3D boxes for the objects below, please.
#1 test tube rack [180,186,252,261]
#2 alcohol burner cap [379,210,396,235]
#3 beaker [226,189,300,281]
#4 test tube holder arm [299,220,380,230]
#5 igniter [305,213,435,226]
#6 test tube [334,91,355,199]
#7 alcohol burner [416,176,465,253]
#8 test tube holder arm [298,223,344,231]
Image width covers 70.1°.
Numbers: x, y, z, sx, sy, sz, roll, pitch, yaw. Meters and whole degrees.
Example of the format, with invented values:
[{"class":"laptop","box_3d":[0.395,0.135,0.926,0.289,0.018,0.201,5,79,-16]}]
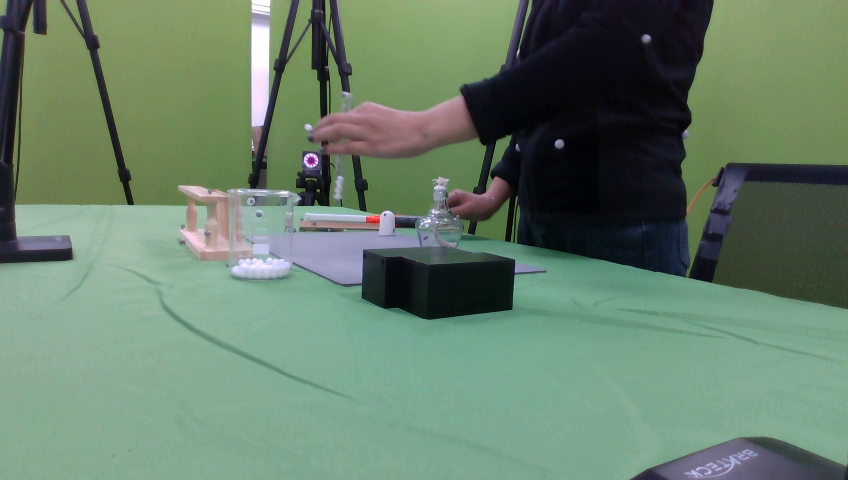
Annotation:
[{"class":"test tube rack","box_3d":[-0.312,-0.031,0.893,0.067,0.085,0.241,-1,8,-27]},{"class":"alcohol burner cap","box_3d":[-0.067,-0.033,1.129,0.034,0.048,0.034,1,7,0]},{"class":"beaker","box_3d":[-0.184,-0.007,0.694,0.084,0.100,0.073,-1,8,-29]},{"class":"test tube holder arm","box_3d":[-0.153,-0.028,1.174,0.179,0.015,0.013,1,-27,-21]},{"class":"igniter","box_3d":[-0.114,-0.046,1.296,0.277,0.025,0.057,1,-2,-11]},{"class":"test tube","box_3d":[-0.111,-0.131,0.846,0.017,0.150,0.017,7,11,-1]},{"class":"alcohol burner","box_3d":[0.026,-0.040,0.935,0.078,0.119,0.078,1,6,0]},{"class":"test tube holder arm","box_3d":[-0.197,-0.026,1.163,0.088,0.015,0.010,0,-27,-20]}]
